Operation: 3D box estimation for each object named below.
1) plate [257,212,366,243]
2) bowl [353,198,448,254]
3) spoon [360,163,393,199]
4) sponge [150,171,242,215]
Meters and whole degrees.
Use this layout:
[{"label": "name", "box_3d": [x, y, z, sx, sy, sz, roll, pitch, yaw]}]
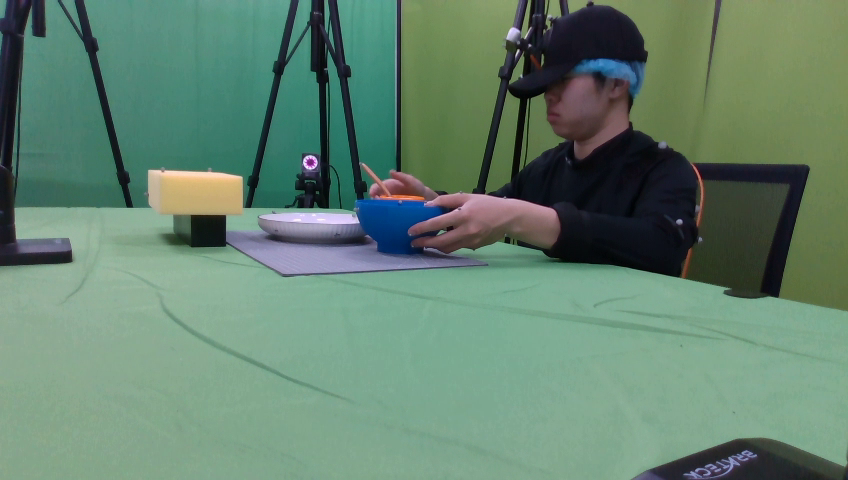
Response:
[{"label": "plate", "box_3d": [-0.189, -0.023, 1.072, 0.209, 0.038, 0.209, 3, 7, 0]}, {"label": "bowl", "box_3d": [-0.038, -0.021, 0.952, 0.151, 0.077, 0.151, 3, 8, 0]}, {"label": "spoon", "box_3d": [-0.075, -0.090, 1.238, 0.021, 0.193, 0.042, -44, -21, 27]}, {"label": "sponge", "box_3d": [-0.379, -0.079, 0.994, 0.119, 0.061, 0.206, -1, 8, -29]}]
